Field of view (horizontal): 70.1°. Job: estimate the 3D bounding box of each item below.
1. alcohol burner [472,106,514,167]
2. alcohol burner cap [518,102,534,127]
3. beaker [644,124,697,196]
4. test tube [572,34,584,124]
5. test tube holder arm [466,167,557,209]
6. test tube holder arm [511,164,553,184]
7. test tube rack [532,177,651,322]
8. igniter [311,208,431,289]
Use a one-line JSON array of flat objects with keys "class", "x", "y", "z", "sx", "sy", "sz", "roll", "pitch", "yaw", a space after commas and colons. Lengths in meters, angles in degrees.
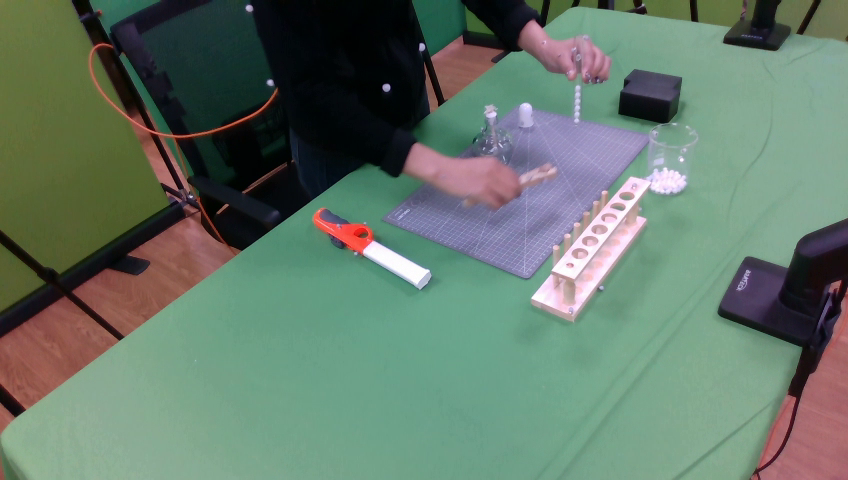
[{"class": "alcohol burner", "x": 0.126, "y": -0.194, "z": 1.111, "sx": 0.078, "sy": 0.119, "sz": 0.077, "roll": -5, "pitch": 42, "yaw": 5}, {"class": "alcohol burner cap", "x": 0.205, "y": -0.255, "z": 1.223, "sx": 0.034, "sy": 0.048, "sz": 0.033, "roll": -6, "pitch": 41, "yaw": 6}, {"class": "beaker", "x": 0.407, "y": -0.131, "z": 1.001, "sx": 0.084, "sy": 0.101, "sz": 0.073, "roll": -20, "pitch": 42, "yaw": -13}, {"class": "test tube", "x": 0.248, "y": -0.257, "z": 0.977, "sx": 0.017, "sy": 0.151, "sz": 0.017, "roll": -6, "pitch": 38, "yaw": 5}, {"class": "test tube holder arm", "x": 0.142, "y": -0.084, "z": 0.962, "sx": 0.179, "sy": 0.015, "sz": 0.013, "roll": -22, "pitch": 44, "yaw": -26}, {"class": "test tube holder arm", "x": 0.175, "y": -0.103, "z": 0.986, "sx": 0.088, "sy": 0.015, "sz": 0.010, "roll": -26, "pitch": 46, "yaw": -29}, {"class": "test tube rack", "x": 0.248, "y": 0.003, "z": 0.883, "sx": 0.066, "sy": 0.085, "sz": 0.243, "roll": 22, "pitch": 49, "yaw": 32}, {"class": "igniter", "x": -0.096, "y": 0.008, "z": 0.985, "sx": 0.274, "sy": 0.025, "sz": 0.057, "roll": 28, "pitch": 62, "yaw": 36}]
